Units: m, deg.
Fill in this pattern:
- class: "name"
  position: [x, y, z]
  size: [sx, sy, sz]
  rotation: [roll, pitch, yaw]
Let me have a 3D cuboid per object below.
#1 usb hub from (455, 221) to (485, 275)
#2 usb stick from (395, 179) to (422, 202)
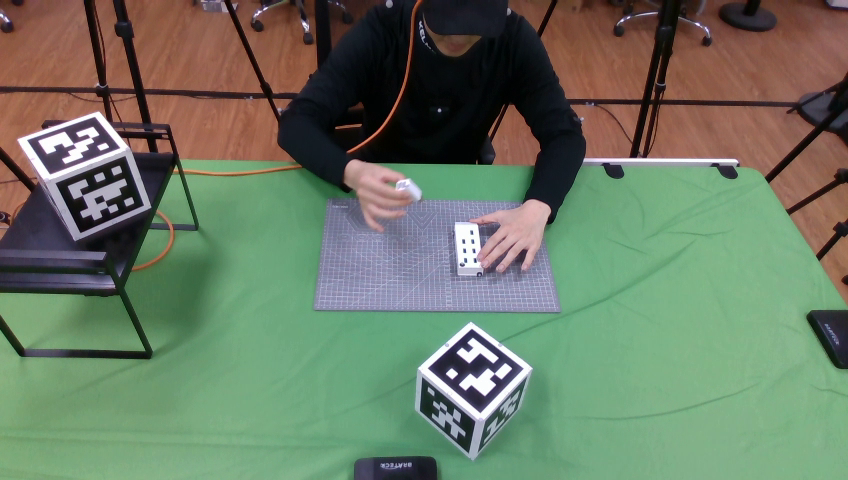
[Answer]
- class: "usb hub"
  position: [0.088, 0.014, 1.178]
  size: [0.049, 0.025, 0.124]
  rotation: [-1, 46, -2]
- class: "usb stick"
  position: [-0.026, -0.086, 1.092]
  size: [0.027, 0.059, 0.021]
  rotation: [-11, 59, 31]
